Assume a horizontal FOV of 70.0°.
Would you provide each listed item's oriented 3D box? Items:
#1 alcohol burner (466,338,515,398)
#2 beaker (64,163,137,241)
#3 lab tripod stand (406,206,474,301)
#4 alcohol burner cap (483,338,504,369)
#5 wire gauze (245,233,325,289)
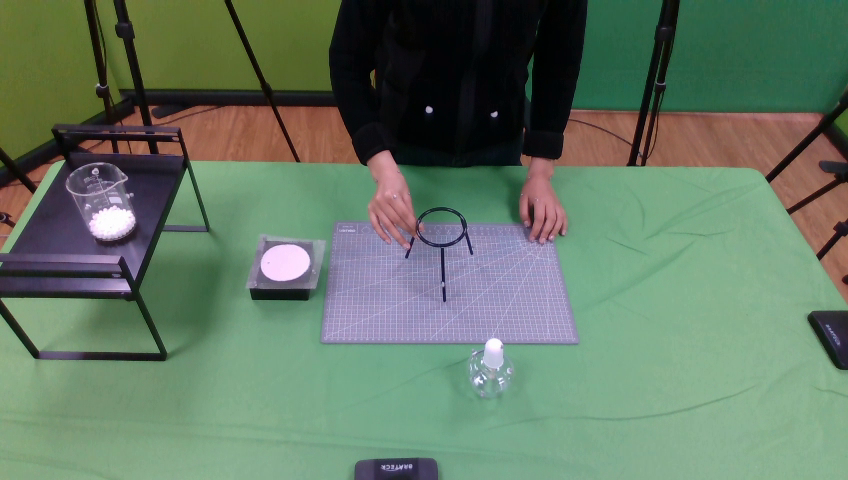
[{"bbox_3d":[0.106,0.195,0.952,0.078,0.120,0.077,0,45,0],"label":"alcohol burner"},{"bbox_3d":[-0.478,-0.055,0.910,0.084,0.101,0.073,-9,48,-13],"label":"beaker"},{"bbox_3d":[0.028,0.015,1.087,0.148,0.132,0.147,-2,52,3],"label":"lab tripod stand"},{"bbox_3d":[0.108,0.170,0.927,0.034,0.048,0.033,-1,41,1],"label":"alcohol burner cap"},{"bbox_3d":[-0.245,0.038,1.081,0.121,0.011,0.124,5,47,-3],"label":"wire gauze"}]
